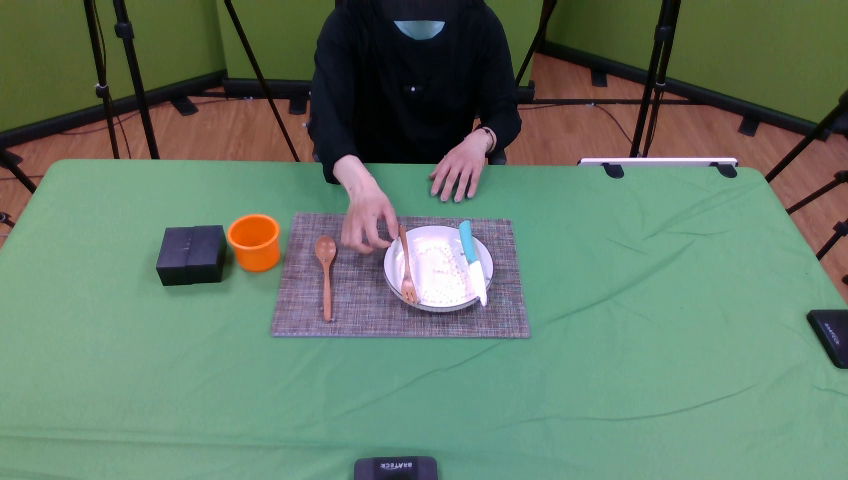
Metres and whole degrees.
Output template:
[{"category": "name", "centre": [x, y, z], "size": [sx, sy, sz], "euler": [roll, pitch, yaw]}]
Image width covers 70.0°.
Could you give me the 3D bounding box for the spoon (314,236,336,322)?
[{"category": "spoon", "centre": [-0.180, 0.068, 1.111], "size": [0.042, 0.022, 0.192], "euler": [9, 43, -20]}]

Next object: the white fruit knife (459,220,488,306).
[{"category": "white fruit knife", "centre": [0.091, 0.039, 1.117], "size": [0.027, 0.016, 0.206], "euler": [-2, 47, -10]}]

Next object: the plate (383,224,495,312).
[{"category": "plate", "centre": [0.026, 0.055, 1.128], "size": [0.209, 0.038, 0.208], "euler": [2, 46, -2]}]

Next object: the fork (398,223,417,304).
[{"category": "fork", "centre": [-0.033, 0.039, 1.109], "size": [0.028, 0.019, 0.206], "euler": [2, 47, -11]}]
